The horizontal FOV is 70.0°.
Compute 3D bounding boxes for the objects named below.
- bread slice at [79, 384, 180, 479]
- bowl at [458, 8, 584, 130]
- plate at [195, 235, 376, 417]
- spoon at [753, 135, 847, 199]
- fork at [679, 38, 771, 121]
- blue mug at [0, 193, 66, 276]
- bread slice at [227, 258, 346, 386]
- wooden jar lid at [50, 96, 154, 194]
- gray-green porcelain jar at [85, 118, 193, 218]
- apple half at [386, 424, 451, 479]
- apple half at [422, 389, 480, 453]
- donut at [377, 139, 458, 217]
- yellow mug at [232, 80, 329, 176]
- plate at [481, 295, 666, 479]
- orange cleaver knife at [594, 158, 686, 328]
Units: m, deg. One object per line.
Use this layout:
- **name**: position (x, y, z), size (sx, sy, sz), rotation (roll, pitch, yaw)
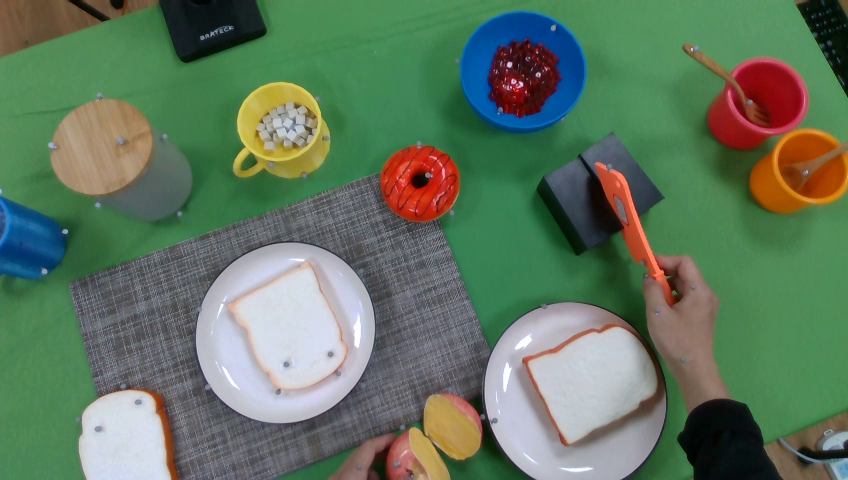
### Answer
- **bread slice**: position (-0.341, 0.233, 0.692), size (0.105, 0.019, 0.131), rotation (-13, 80, -3)
- **bowl**: position (0.115, -0.198, 0.751), size (0.151, 0.077, 0.150), rotation (0, 79, 0)
- **plate**: position (-0.159, 0.099, 0.708), size (0.208, 0.039, 0.206), rotation (0, 79, 0)
- **spoon**: position (0.475, -0.108, 0.696), size (0.022, 0.194, 0.041), rotation (-14, 72, -49)
- **fork**: position (0.358, -0.186, 0.711), size (0.209, 0.018, 0.028), rotation (20, 74, -38)
- **blue mug**: position (-0.496, 0.005, 0.697), size (0.082, 0.106, 0.116), rotation (42, 82, 9)
- **bread slice**: position (-0.152, 0.101, 0.709), size (0.107, 0.018, 0.133), rotation (-32, 79, -5)
- **wooden jar lid**: position (-0.339, -0.099, 0.644), size (0.108, 0.021, 0.108), rotation (0, 77, 1)
- **gray-green porcelain jar**: position (-0.338, -0.086, 0.705), size (0.106, 0.127, 0.105), rotation (0, 78, 0)
- **apple half**: position (-0.012, 0.248, 0.664), size (0.053, 0.075, 0.080), rotation (-36, 81, 9)
- **apple half**: position (0.034, 0.201, 0.688), size (0.081, 0.081, 0.033), rotation (49, 43, 9)
- **donut**: position (-0.007, -0.075, 0.740), size (0.099, 0.048, 0.098), rotation (0, 79, 0)
- **yellow mug**: position (-0.184, -0.126, 0.743), size (0.131, 0.064, 0.099), rotation (-44, 82, -7)
- **plate**: position (0.168, 0.169, 0.697), size (0.209, 0.038, 0.208), rotation (0, 79, 1)
- **orange cleaver knife**: position (0.245, 0.002, 0.694), size (0.012, 0.077, 0.212), rotation (-27, 100, -1)
